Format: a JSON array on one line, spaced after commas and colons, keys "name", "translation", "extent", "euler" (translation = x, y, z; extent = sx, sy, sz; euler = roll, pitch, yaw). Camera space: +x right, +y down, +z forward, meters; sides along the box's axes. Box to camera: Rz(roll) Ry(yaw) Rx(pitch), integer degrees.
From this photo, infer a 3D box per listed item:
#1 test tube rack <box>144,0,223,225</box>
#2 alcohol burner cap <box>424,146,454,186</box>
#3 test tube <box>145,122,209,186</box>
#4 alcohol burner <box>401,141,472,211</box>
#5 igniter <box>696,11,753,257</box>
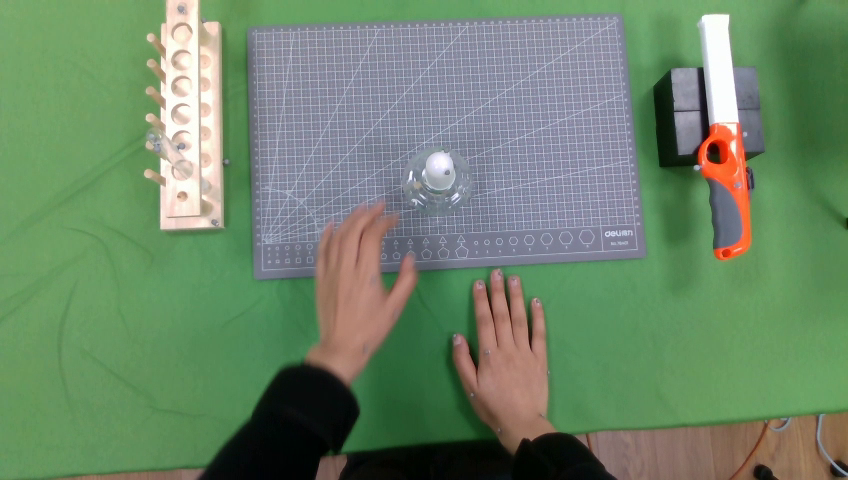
[{"name": "test tube rack", "translation": [-0.265, -0.143, 0.659], "extent": [0.067, 0.085, 0.241], "euler": [-3, 83, -2]}, {"name": "alcohol burner cap", "translation": [0.015, -0.077, 0.611], "extent": [0.034, 0.048, 0.033], "euler": [0, 78, 1]}, {"name": "test tube", "translation": [-0.242, -0.082, 0.604], "extent": [0.017, 0.150, 0.017], "euler": [1, 78, -4]}, {"name": "alcohol burner", "translation": [0.014, -0.071, 0.646], "extent": [0.078, 0.119, 0.077], "euler": [0, 85, -2]}, {"name": "igniter", "translation": [0.326, -0.119, 0.665], "extent": [0.057, 0.025, 0.275], "euler": [-1, 82, 1]}]
